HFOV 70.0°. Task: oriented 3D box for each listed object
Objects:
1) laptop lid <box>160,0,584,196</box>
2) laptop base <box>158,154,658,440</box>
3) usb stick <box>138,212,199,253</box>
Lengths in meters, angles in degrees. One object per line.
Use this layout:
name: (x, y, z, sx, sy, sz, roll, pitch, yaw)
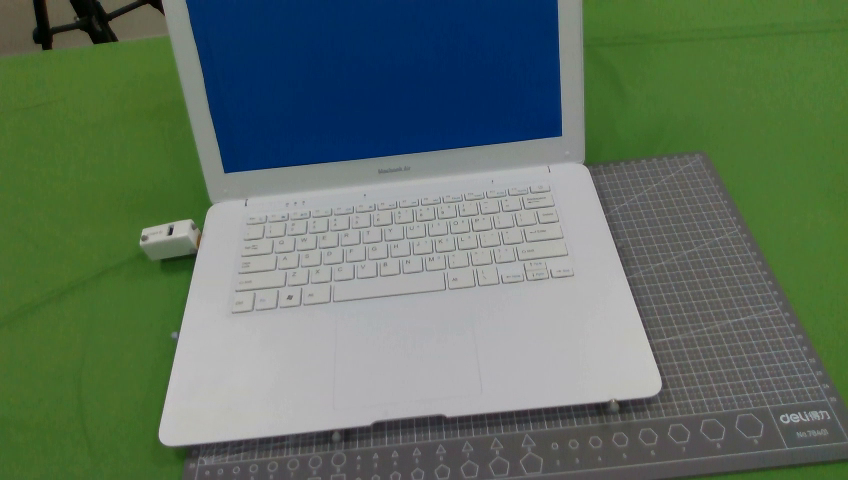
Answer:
laptop lid: (-0.040, -0.163, 0.526, 0.357, 0.243, 0.013, -8, 21, 2)
laptop base: (-0.019, 0.034, 0.493, 0.354, 0.023, 0.233, -6, 53, 1)
usb stick: (-0.217, -0.008, 0.534, 0.059, 0.027, 0.021, -8, 49, 0)
